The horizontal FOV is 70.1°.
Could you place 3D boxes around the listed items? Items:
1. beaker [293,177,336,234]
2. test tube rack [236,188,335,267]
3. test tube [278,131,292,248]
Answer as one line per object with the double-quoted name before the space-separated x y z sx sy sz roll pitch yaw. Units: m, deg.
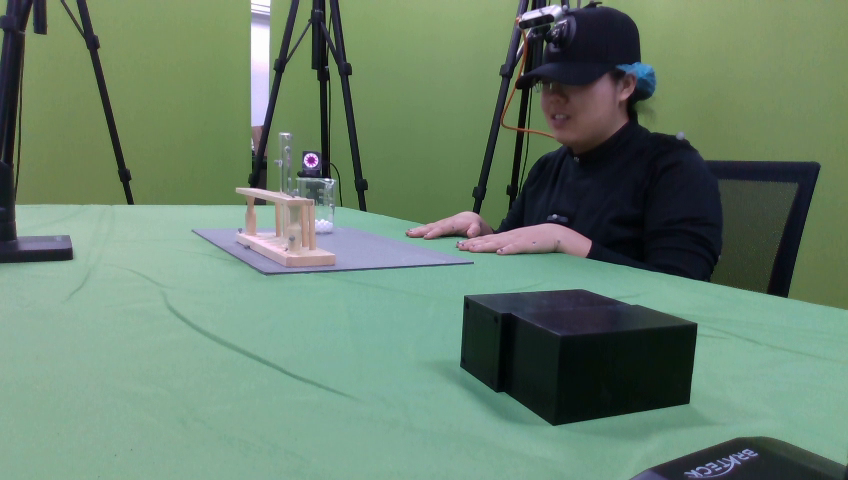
"beaker" -0.197 -0.063 1.107 0.083 0.100 0.074 10 11 40
"test tube rack" -0.202 -0.024 0.855 0.067 0.085 0.241 -2 9 -31
"test tube" -0.178 -0.063 0.776 0.017 0.150 0.017 2 11 0
